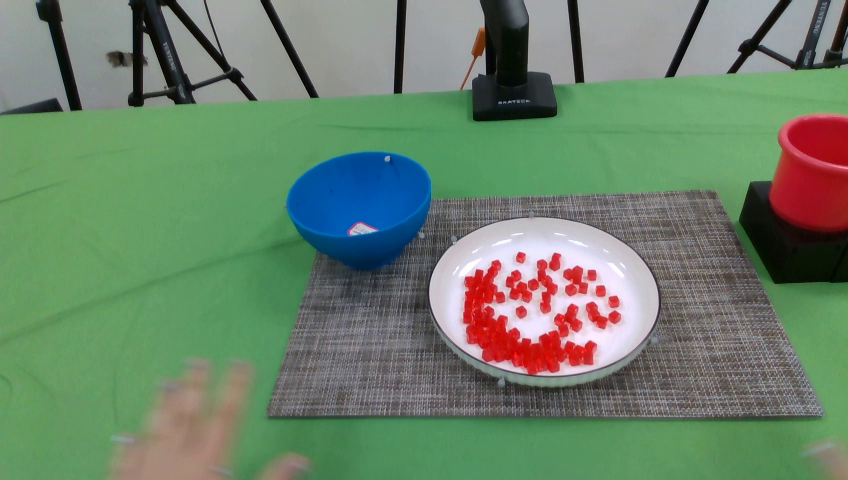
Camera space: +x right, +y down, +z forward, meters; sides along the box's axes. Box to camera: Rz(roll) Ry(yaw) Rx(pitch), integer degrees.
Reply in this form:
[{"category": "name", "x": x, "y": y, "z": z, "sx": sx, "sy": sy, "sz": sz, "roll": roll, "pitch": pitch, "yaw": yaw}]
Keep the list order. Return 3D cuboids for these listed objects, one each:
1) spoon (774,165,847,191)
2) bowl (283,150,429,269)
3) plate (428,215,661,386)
[{"category": "spoon", "x": 0.389, "y": -0.068, "z": 0.517, "sx": 0.042, "sy": 0.193, "sz": 0.021, "roll": -24, "pitch": 89, "yaw": -20}, {"category": "bowl", "x": -0.066, "y": -0.022, "z": 0.644, "sx": 0.151, "sy": 0.077, "sz": 0.150, "roll": -4, "pitch": 40, "yaw": 3}, {"category": "plate", "x": 0.109, "y": 0.054, "z": 0.564, "sx": 0.207, "sy": 0.039, "sz": 0.205, "roll": -4, "pitch": 40, "yaw": 3}]
